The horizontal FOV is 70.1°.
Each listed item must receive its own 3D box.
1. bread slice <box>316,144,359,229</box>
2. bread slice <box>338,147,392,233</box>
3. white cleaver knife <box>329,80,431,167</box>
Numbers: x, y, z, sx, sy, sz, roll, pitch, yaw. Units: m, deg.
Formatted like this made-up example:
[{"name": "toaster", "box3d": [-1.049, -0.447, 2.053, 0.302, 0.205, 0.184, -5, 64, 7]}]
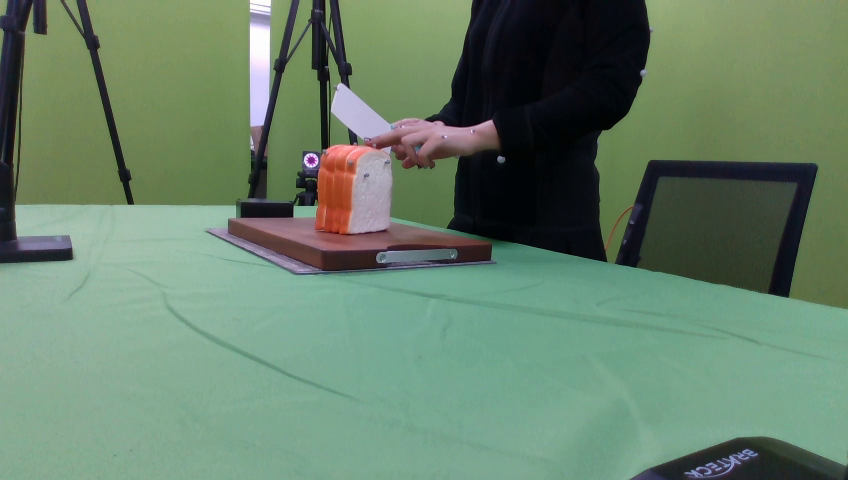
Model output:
[{"name": "bread slice", "box3d": [-0.124, -0.083, 0.948, 0.018, 0.134, 0.107, 6, 4, 33]}, {"name": "bread slice", "box3d": [-0.085, -0.075, 0.917, 0.019, 0.131, 0.105, 13, 14, 33]}, {"name": "white cleaver knife", "box3d": [-0.070, -0.180, 1.033, 0.021, 0.066, 0.288, 5, -13, 34]}]
